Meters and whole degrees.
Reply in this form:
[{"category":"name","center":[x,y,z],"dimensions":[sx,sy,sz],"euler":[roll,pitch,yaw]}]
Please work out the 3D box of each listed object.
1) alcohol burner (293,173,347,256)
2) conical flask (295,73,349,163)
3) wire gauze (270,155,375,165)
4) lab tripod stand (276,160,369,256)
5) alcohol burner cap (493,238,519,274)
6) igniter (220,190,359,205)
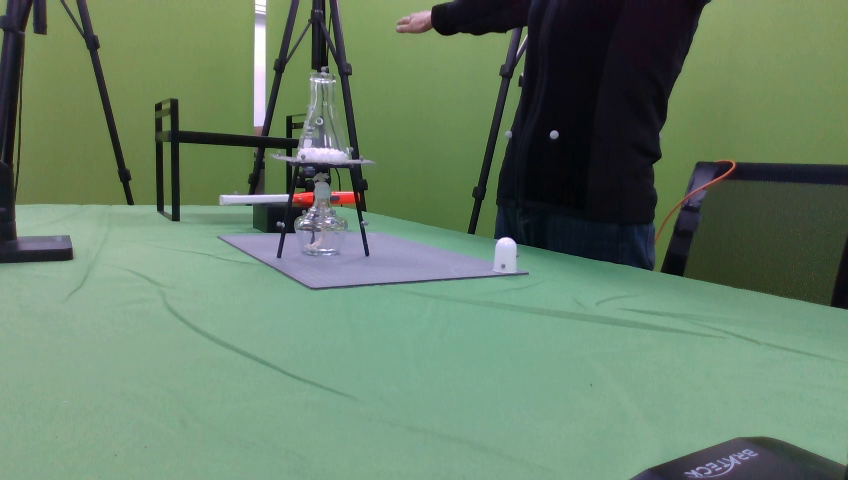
[{"category":"alcohol burner","center":[-0.148,-0.037,0.868],"dimensions":[0.078,0.119,0.078],"euler":[4,8,0]},{"category":"conical flask","center":[-0.143,-0.170,0.851],"dimensions":[0.075,0.122,0.075],"euler":[2,9,0]},{"category":"wire gauze","center":[-0.146,-0.112,0.860],"dimensions":[0.122,0.011,0.124],"euler":[0,6,-29]},{"category":"lab tripod stand","center":[-0.149,-0.046,0.861],"dimensions":[0.148,0.131,0.148],"euler":[3,9,0]},{"category":"alcohol burner cap","center":[0.107,0.021,0.784],"dimensions":[0.034,0.048,0.034],"euler":[0,6,0]},{"category":"igniter","center":[-0.247,-0.081,1.158],"dimensions":[0.278,0.025,0.057],"euler":[-5,7,-33]}]
